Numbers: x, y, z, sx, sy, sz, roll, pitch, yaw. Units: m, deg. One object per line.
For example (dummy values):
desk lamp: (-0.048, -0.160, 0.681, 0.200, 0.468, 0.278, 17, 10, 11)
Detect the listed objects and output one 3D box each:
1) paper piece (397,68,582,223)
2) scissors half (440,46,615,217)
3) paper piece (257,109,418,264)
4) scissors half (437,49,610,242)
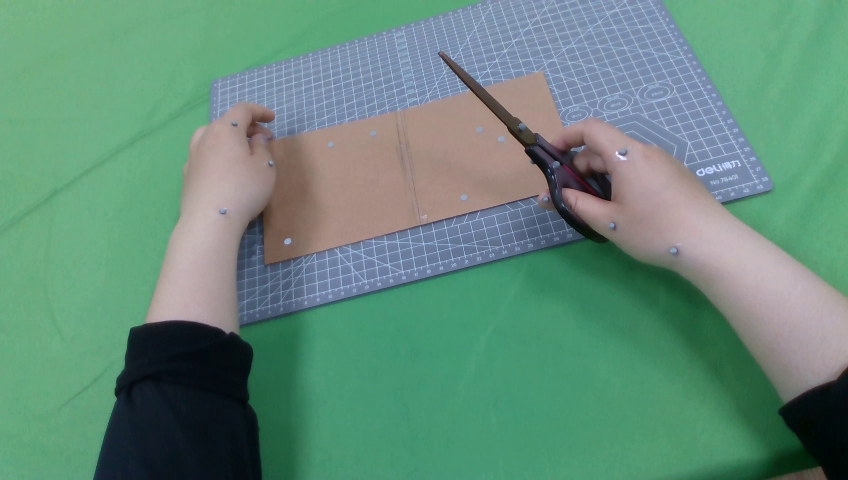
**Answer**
paper piece: (0.049, -0.085, 0.515, 0.135, 0.004, 0.134, -14, 56, 6)
scissors half: (0.076, -0.076, 0.428, 0.013, 0.176, 0.040, -32, 28, 44)
paper piece: (-0.080, -0.052, 0.527, 0.138, 0.009, 0.134, -13, 54, 5)
scissors half: (0.069, -0.063, 0.415, 0.013, 0.176, 0.040, -35, 12, 40)
